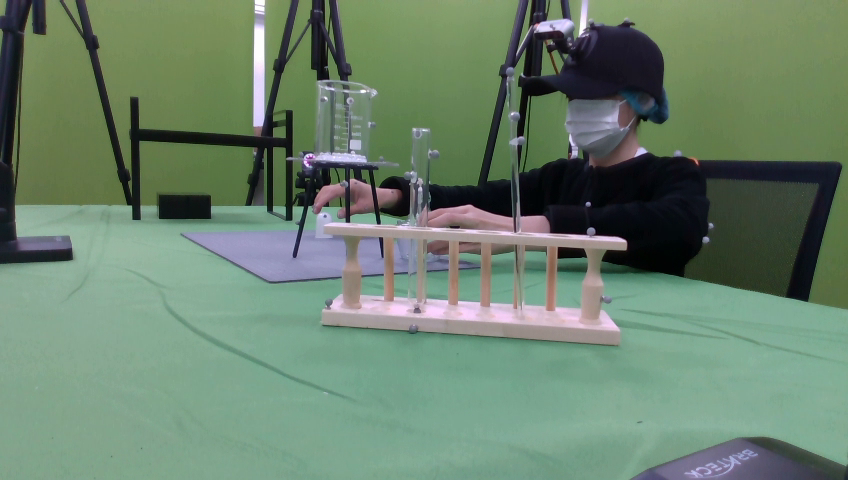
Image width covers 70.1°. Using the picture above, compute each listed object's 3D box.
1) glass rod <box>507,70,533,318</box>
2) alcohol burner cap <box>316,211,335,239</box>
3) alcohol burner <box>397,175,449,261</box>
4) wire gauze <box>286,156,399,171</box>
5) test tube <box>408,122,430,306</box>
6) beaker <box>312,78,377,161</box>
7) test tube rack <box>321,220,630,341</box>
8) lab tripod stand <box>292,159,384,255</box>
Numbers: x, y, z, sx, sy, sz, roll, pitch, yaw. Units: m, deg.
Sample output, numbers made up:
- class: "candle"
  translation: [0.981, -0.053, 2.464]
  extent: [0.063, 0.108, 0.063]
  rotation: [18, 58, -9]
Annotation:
- class: "glass rod"
  translation: [0.076, -0.031, 0.476]
  extent: [0.008, 0.199, 0.008]
  rotation: [-6, 12, 2]
- class: "alcohol burner cap"
  translation: [-0.171, -0.027, 1.048]
  extent: [0.034, 0.048, 0.034]
  rotation: [1, 8, 0]
- class: "alcohol burner"
  translation: [-0.002, -0.031, 0.847]
  extent: [0.078, 0.119, 0.078]
  rotation: [0, 7, 0]
- class: "wire gauze"
  translation: [-0.101, -0.103, 0.788]
  extent: [0.121, 0.011, 0.125]
  rotation: [5, 4, 6]
- class: "test tube"
  translation: [-0.004, -0.019, 0.489]
  extent: [0.017, 0.150, 0.017]
  rotation: [1, 11, 0]
- class: "beaker"
  translation: [-0.103, -0.151, 0.775]
  extent: [0.084, 0.100, 0.074]
  rotation: [5, 6, 14]
- class: "test tube rack"
  translation: [0.041, 0.029, 0.512]
  extent: [0.242, 0.085, 0.067]
  rotation: [3, 7, 5]
- class: "lab tripod stand"
  translation: [-0.105, -0.039, 0.797]
  extent: [0.148, 0.131, 0.148]
  rotation: [2, 5, 0]
